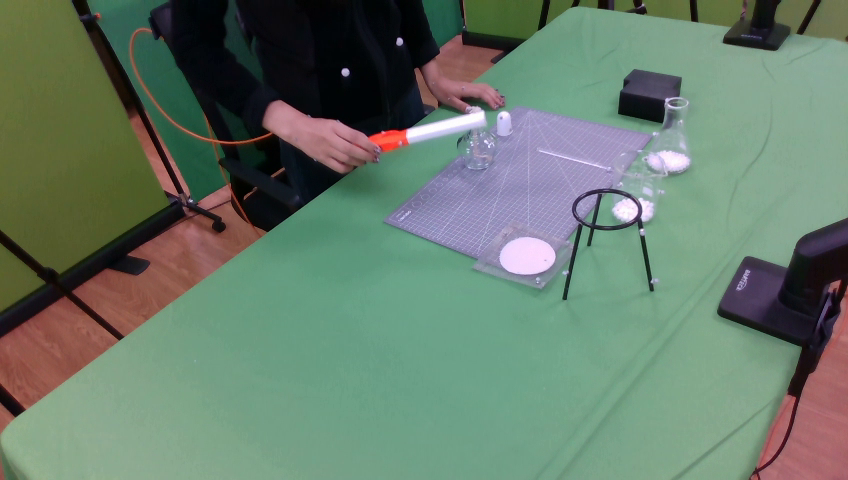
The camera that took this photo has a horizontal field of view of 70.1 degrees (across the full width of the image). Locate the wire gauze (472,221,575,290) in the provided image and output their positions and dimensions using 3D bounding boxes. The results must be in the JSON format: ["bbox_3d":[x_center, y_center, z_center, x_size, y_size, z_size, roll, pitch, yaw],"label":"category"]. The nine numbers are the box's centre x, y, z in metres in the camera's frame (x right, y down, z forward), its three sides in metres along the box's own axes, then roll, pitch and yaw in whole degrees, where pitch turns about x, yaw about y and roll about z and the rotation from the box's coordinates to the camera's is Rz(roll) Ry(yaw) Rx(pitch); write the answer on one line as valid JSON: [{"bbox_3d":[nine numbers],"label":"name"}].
[{"bbox_3d":[0.158,0.024,0.933,0.120,0.011,0.125,21,49,31],"label":"wire gauze"}]

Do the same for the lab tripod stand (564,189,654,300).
[{"bbox_3d":[0.251,0.003,0.845,0.148,0.132,0.147,-7,39,6],"label":"lab tripod stand"}]

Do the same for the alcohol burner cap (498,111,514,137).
[{"bbox_3d":[0.163,-0.235,1.211,0.034,0.048,0.033,-6,40,6],"label":"alcohol burner cap"}]

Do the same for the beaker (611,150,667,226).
[{"bbox_3d":[0.337,-0.079,0.953,0.083,0.101,0.074,25,51,33],"label":"beaker"}]

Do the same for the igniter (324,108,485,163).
[{"bbox_3d":[-0.037,-0.167,0.980,0.276,0.025,0.057,-12,35,13],"label":"igniter"}]

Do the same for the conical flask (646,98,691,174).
[{"bbox_3d":[0.426,-0.180,1.037,0.075,0.122,0.075,-5,40,5],"label":"conical flask"}]

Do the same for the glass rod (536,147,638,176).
[{"bbox_3d":[0.294,-0.145,1.104,0.198,0.008,0.008,22,50,31],"label":"glass rod"}]

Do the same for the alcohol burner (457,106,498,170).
[{"bbox_3d":[0.097,-0.192,1.117,0.078,0.119,0.077,-7,39,6],"label":"alcohol burner"}]
